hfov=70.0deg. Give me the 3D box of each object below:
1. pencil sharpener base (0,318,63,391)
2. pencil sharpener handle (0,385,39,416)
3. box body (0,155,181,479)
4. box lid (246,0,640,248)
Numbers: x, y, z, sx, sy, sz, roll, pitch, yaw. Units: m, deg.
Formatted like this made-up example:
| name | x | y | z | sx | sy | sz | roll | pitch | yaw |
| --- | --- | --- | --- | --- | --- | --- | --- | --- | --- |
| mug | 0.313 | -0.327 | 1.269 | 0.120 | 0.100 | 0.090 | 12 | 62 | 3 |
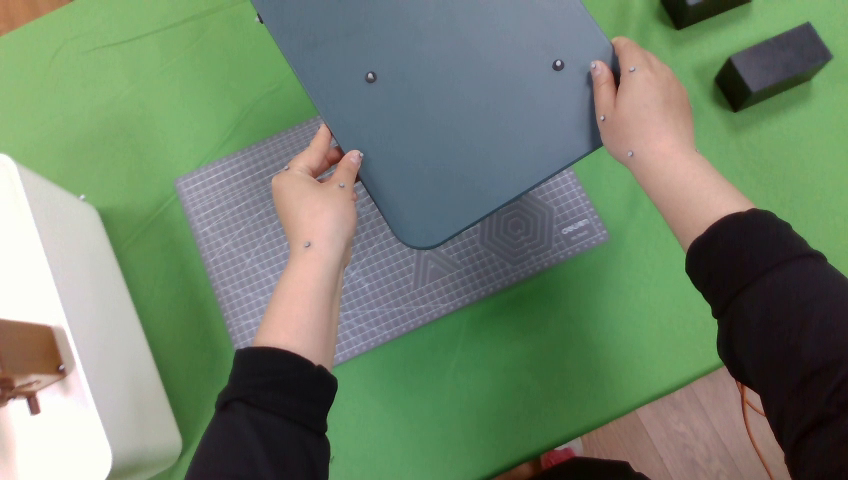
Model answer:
| name | x | y | z | sx | sy | sz | roll | pitch | yaw |
| --- | --- | --- | --- | --- | --- | --- | --- | --- | --- |
| pencil sharpener base | -0.467 | 0.135 | 0.670 | 0.061 | 0.107 | 0.076 | -27 | 76 | -2 |
| pencil sharpener handle | -0.443 | 0.174 | 0.646 | 0.036 | 0.068 | 0.030 | -29 | 76 | 6 |
| box body | -0.453 | 0.132 | 0.647 | 0.254 | 0.161 | 0.362 | -27 | 75 | -1 |
| box lid | 0.000 | -0.204 | 0.571 | 0.263 | 0.015 | 0.370 | -32 | 81 | -3 |
